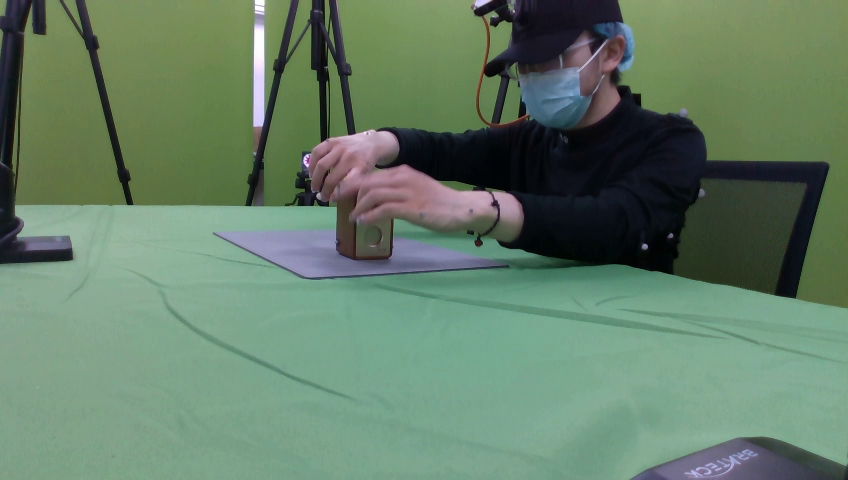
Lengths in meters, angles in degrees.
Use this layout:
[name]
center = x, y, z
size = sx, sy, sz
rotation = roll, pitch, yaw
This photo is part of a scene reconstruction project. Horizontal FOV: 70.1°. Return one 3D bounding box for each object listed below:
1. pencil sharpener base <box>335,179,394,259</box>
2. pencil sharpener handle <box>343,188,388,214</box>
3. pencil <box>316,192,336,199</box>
[pencil sharpener base]
center = -0.084, -0.030, 0.854
size = 0.061, 0.107, 0.076
rotation = -1, 9, -29
[pencil sharpener handle]
center = -0.071, -0.048, 0.800
size = 0.068, 0.036, 0.030
rotation = -10, 13, -28
[pencil]
center = -0.135, -0.068, 0.946
size = 0.012, 0.012, 0.193
rotation = -2, 6, -29
